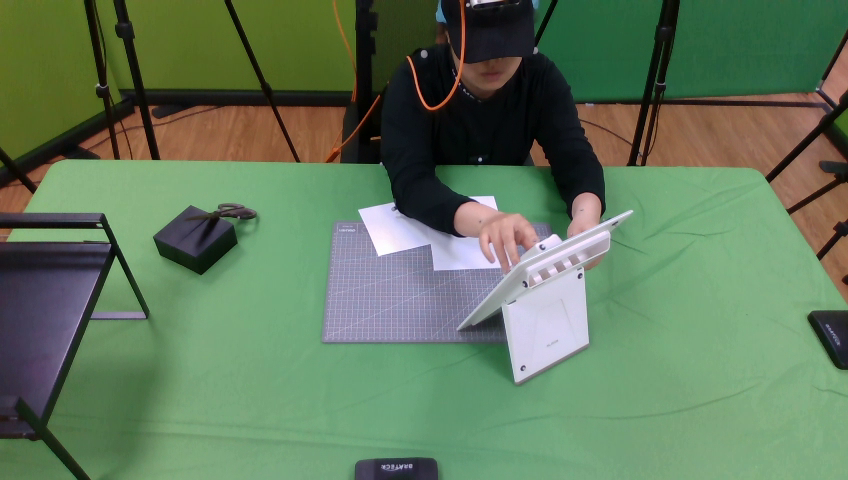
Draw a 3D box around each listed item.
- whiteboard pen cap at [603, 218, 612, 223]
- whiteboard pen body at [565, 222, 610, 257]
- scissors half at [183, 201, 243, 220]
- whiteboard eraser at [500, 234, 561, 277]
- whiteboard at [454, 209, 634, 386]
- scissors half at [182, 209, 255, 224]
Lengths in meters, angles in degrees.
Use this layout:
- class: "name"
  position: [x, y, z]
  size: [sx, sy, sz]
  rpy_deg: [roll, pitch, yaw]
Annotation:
- class: "whiteboard pen cap"
  position: [0.379, -0.031, 1.255]
  size: [0.033, 0.018, 0.018]
  rpy_deg: [-33, 56, -30]
- class: "whiteboard pen body"
  position: [0.335, -0.003, 1.228]
  size: [0.141, 0.017, 0.017]
  rpy_deg: [-32, 56, -29]
- class: "scissors half"
  position: [-0.405, -0.054, 1.163]
  size: [0.040, 0.013, 0.175]
  rpy_deg: [28, 18, 7]
- class: "whiteboard eraser"
  position: [0.173, 0.036, 0.972]
  size: [0.056, 0.113, 0.041]
  rpy_deg: [-20, 73, -35]
- class: "whiteboard"
  position: [0.211, 0.111, 0.954]
  size: [0.217, 0.306, 0.143]
  rpy_deg: [-21, 72, -24]
- class: "scissors half"
  position: [-0.389, -0.042, 1.158]
  size: [0.040, 0.013, 0.175]
  rpy_deg: [40, 21, 23]
